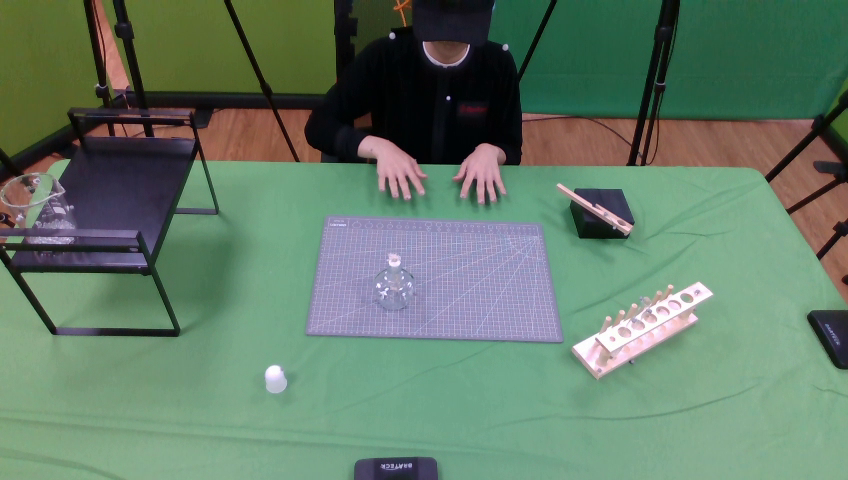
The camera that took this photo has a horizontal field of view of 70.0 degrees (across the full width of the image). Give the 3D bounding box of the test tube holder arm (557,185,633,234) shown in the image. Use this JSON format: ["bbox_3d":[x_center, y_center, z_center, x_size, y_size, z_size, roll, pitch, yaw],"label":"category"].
[{"bbox_3d":[0.340,-0.064,1.215,0.177,0.015,0.013,35,62,29],"label":"test tube holder arm"}]

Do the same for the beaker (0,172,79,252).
[{"bbox_3d":[-0.557,-0.038,0.889,0.084,0.101,0.073,-3,47,-8],"label":"beaker"}]

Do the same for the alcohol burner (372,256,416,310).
[{"bbox_3d":[-0.052,0.068,1.057,0.078,0.120,0.077,1,48,-1],"label":"alcohol burner"}]

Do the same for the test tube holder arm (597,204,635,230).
[{"bbox_3d":[0.376,-0.044,1.195,0.010,0.015,0.087,-39,58,-24],"label":"test tube holder arm"}]

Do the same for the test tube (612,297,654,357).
[{"bbox_3d":[0.329,0.142,0.964,0.017,0.151,0.017,5,46,-5],"label":"test tube"}]

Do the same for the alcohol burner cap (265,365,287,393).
[{"bbox_3d":[-0.236,0.216,0.956,0.034,0.048,0.033,3,45,-3],"label":"alcohol burner cap"}]

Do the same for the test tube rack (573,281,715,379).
[{"bbox_3d":[0.378,0.140,1.038,0.242,0.085,0.066,-22,51,-23],"label":"test tube rack"}]
